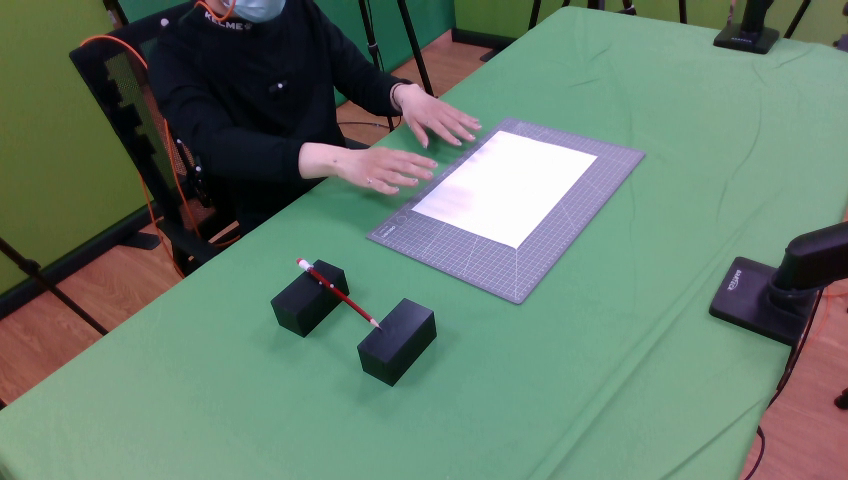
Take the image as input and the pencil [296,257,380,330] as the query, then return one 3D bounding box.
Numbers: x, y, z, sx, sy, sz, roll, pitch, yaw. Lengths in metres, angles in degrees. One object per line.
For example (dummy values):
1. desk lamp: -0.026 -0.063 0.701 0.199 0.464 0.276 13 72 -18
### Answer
1. pencil: -0.122 0.072 0.838 0.012 0.012 0.192 -33 49 -28
